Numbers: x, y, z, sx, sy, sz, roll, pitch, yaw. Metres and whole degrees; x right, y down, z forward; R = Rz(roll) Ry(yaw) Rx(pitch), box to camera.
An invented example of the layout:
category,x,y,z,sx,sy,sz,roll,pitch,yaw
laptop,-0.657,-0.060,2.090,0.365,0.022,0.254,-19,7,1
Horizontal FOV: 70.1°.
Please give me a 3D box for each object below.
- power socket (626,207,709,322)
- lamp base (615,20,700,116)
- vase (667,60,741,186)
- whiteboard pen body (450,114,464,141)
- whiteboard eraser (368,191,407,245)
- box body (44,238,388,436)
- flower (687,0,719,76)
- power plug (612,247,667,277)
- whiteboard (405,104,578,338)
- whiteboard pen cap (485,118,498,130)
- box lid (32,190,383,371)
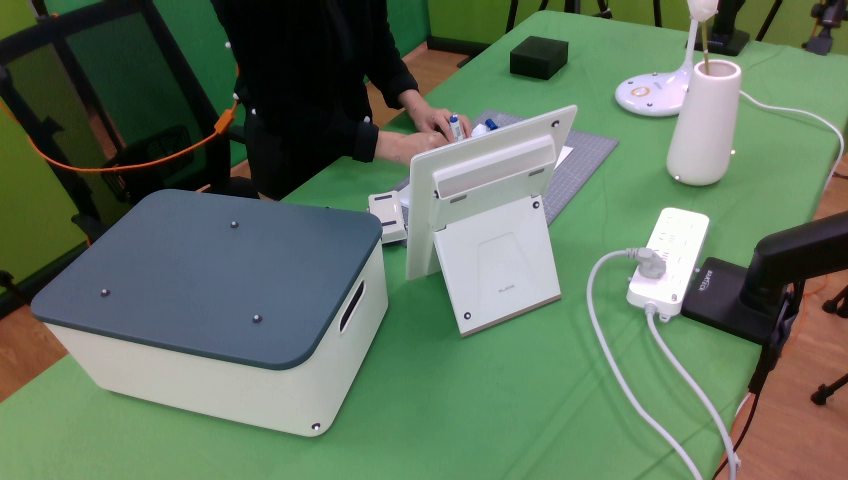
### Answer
category,x,y,z,sx,sy,sz,roll,pitch,yaw
power socket,0.360,0.026,0.886,0.072,0.033,0.227,17,46,27
lamp base,0.484,-0.364,1.211,0.180,0.181,0.159,-15,41,-14
vase,0.463,-0.189,0.994,0.098,0.201,0.097,-4,40,4
whiteboard pen body,0.065,-0.165,1.066,0.017,0.141,0.017,-7,52,10
whiteboard eraser,-0.061,-0.035,1.006,0.056,0.042,0.112,-9,40,-3
box body,-0.251,0.088,0.799,0.362,0.161,0.254,7,42,16
flower,0.436,-0.242,0.934,0.038,0.364,0.043,-24,49,8
power plug,0.306,0.031,0.852,0.072,0.053,0.035,21,48,37
whiteboard,0.102,0.003,0.787,0.218,0.306,0.143,-19,62,-13
whiteboard pen cap,0.138,-0.232,1.229,0.018,0.018,0.033,-16,43,-11
box lid,-0.257,0.032,0.750,0.370,0.015,0.263,7,42,16
